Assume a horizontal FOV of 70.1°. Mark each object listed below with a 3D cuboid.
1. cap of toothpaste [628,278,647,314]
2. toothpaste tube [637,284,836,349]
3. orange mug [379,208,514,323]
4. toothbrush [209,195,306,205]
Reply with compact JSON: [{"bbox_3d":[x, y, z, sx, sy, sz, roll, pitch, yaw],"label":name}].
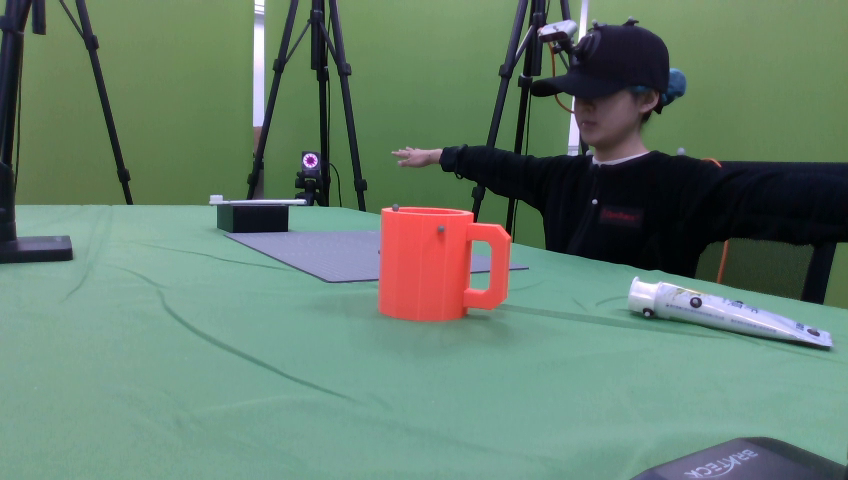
[{"bbox_3d":[0.209,0.055,0.589,0.011,0.037,0.037,11,11,28],"label":"cap of toothpaste"},{"bbox_3d":[0.275,0.070,0.550,0.164,0.034,0.055,11,15,28],"label":"toothpaste tube"},{"bbox_3d":[0.019,0.021,0.557,0.126,0.100,0.084,1,6,20],"label":"orange mug"},{"bbox_3d":[-0.303,-0.073,1.117,0.183,0.016,0.014,-2,6,-36],"label":"toothbrush"}]
